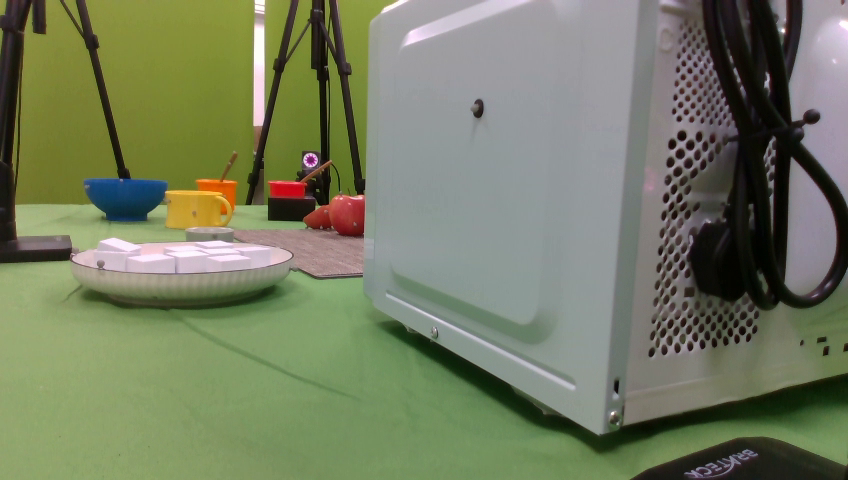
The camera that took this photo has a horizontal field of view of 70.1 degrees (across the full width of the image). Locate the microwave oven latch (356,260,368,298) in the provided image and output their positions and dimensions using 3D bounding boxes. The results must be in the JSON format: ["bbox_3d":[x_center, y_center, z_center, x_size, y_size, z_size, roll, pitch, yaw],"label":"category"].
[{"bbox_3d":[-0.020,0.033,0.530,0.079,0.029,0.030,0,7,-26],"label":"microwave oven latch"}]

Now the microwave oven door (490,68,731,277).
[{"bbox_3d":[0.230,-0.097,0.834,0.039,0.243,0.354,-3,9,-37],"label":"microwave oven door"}]

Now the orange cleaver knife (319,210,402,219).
[{"bbox_3d":[-0.142,-0.057,1.394,0.077,0.012,0.212,1,6,44],"label":"orange cleaver knife"}]

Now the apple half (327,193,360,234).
[{"bbox_3d":[-0.132,-0.046,1.087,0.081,0.074,0.053,5,10,-13],"label":"apple half"}]

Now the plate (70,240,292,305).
[{"bbox_3d":[-0.242,0.031,0.618,0.208,0.039,0.207,2,8,0],"label":"plate"}]

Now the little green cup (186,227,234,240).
[{"bbox_3d":[-0.285,0.005,0.805,0.061,0.038,0.061,2,8,0],"label":"little green cup"}]

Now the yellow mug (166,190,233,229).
[{"bbox_3d":[-0.415,-0.057,1.132,0.130,0.064,0.100,6,8,16],"label":"yellow mug"}]

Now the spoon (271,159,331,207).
[{"bbox_3d":[-0.308,-0.142,1.514,0.193,0.021,0.041,-41,3,8],"label":"spoon"}]

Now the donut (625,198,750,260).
[{"bbox_3d":[0.224,-0.009,0.519,0.099,0.048,0.099,9,4,0],"label":"donut"}]

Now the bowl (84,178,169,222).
[{"bbox_3d":[-0.584,-0.078,1.194,0.151,0.077,0.151,3,8,0],"label":"bowl"}]

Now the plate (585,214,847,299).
[{"bbox_3d":[0.244,0.012,0.515,0.209,0.038,0.209,-3,11,1],"label":"plate"}]

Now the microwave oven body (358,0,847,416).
[{"bbox_3d":[0.211,-0.047,0.474,0.444,0.260,0.324,-1,7,-28],"label":"microwave oven body"}]

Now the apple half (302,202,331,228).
[{"bbox_3d":[-0.193,-0.044,1.169,0.081,0.032,0.081,-25,-11,-5],"label":"apple half"}]

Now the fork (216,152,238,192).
[{"bbox_3d":[-0.455,-0.132,1.367,0.028,0.018,0.207,-2,-35,-38],"label":"fork"}]
